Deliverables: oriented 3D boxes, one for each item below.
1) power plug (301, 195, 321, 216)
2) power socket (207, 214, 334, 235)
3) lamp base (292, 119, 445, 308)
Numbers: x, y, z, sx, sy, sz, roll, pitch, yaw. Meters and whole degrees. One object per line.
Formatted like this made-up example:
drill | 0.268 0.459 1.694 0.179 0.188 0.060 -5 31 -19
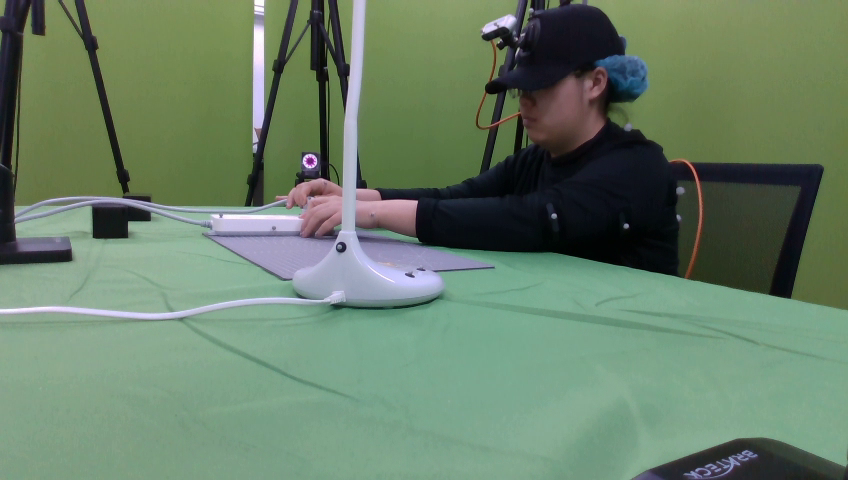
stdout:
power plug | -0.214 -0.059 1.144 0.035 0.052 0.072 -2 11 -11
power socket | -0.271 -0.029 1.085 0.228 0.032 0.072 -1 8 -28
lamp base | -0.056 -0.030 0.616 0.160 0.180 0.179 3 10 8
